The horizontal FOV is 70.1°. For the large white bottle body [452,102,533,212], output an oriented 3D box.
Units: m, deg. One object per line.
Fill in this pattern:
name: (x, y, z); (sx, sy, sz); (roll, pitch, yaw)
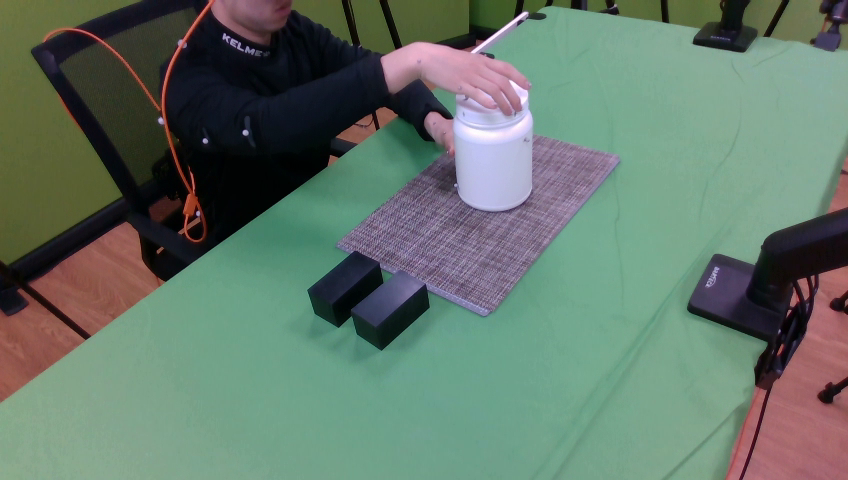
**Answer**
large white bottle body: (0.115, -0.154, 1.000); (0.130, 0.185, 0.130); (-4, 41, 4)

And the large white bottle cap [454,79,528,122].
large white bottle cap: (0.105, -0.219, 0.945); (0.115, 0.018, 0.114); (-4, 40, 4)
